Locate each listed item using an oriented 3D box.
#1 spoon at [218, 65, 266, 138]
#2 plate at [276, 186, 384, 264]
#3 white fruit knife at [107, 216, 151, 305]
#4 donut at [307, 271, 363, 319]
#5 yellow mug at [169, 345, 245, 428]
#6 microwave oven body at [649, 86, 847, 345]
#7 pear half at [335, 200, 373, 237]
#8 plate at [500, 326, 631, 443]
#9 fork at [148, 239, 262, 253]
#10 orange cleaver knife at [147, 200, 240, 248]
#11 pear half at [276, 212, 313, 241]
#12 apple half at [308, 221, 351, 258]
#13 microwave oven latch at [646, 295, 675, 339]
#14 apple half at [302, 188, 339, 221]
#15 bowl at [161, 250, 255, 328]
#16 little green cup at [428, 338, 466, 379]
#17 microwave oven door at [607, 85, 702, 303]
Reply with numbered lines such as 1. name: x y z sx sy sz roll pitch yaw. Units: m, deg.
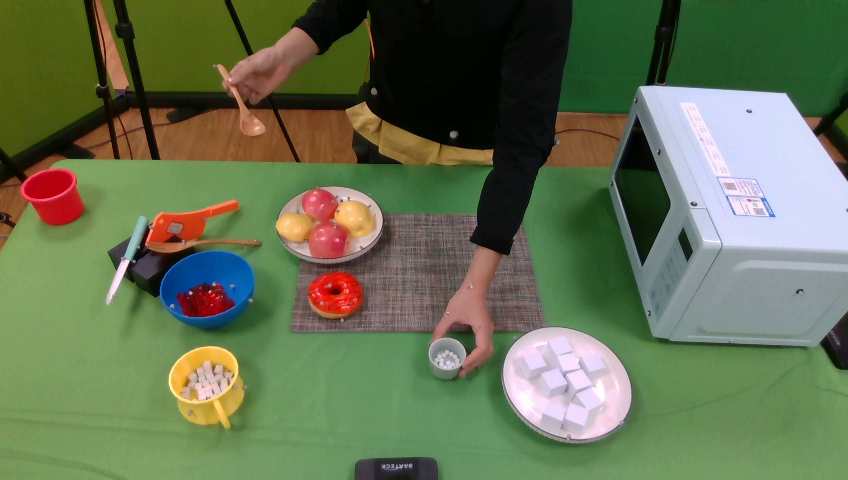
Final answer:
1. spoon: -0.344 -0.261 1.129 0.041 0.022 0.193 -23 69 -19
2. plate: -0.184 -0.027 1.195 0.209 0.038 0.208 2 46 -2
3. white fruit knife: -0.518 0.032 1.066 0.027 0.016 0.206 -18 45 19
4. donut: -0.157 0.097 1.072 0.099 0.048 0.098 4 45 -4
5. yellow mug: -0.322 0.230 0.922 0.100 0.064 0.130 -24 53 -25
6. microwave oven body: 0.568 -0.053 1.118 0.326 0.261 0.439 2 45 -1
7. pear half: -0.146 -0.059 1.209 0.076 0.056 0.109 -17 42 -25
8. plate: 0.224 0.234 0.978 0.208 0.039 0.206 2 46 -2
9. fork: -0.398 0.008 1.117 0.208 0.019 0.028 -5 34 -37
10. orange cleaver knife: -0.435 -0.033 1.157 0.012 0.077 0.211 31 26 18
11. pear half: -0.244 -0.035 1.178 0.070 0.031 0.088 40 41 1
12. apple half: -0.180 -0.005 1.150 0.074 0.053 0.080 14 43 9
13. microwave oven latch: 0.412 0.134 1.061 0.030 0.029 0.078 4 45 1
14. apple half: -0.205 -0.076 1.216 0.081 0.033 0.081 18 46 -19
15. bowl: -0.362 0.097 1.040 0.151 0.077 0.150 2 45 -2
16. little green cup: 0.036 0.195 0.989 0.061 0.039 0.061 2 52 -3
17. microwave oven door: 0.423 -0.094 1.140 0.039 0.245 0.353 2 46 -1
